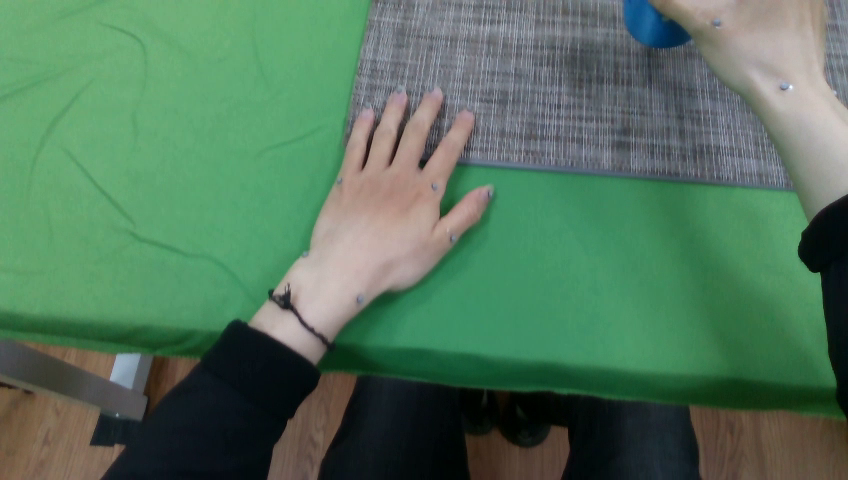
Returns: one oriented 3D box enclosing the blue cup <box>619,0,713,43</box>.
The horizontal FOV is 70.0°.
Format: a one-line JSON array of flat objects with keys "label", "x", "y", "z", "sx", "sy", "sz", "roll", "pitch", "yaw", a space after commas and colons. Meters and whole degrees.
[{"label": "blue cup", "x": 0.186, "y": -0.204, "z": 0.450, "sx": 0.092, "sy": 0.101, "sz": 0.092, "roll": -2, "pitch": 66, "yaw": 5}]
